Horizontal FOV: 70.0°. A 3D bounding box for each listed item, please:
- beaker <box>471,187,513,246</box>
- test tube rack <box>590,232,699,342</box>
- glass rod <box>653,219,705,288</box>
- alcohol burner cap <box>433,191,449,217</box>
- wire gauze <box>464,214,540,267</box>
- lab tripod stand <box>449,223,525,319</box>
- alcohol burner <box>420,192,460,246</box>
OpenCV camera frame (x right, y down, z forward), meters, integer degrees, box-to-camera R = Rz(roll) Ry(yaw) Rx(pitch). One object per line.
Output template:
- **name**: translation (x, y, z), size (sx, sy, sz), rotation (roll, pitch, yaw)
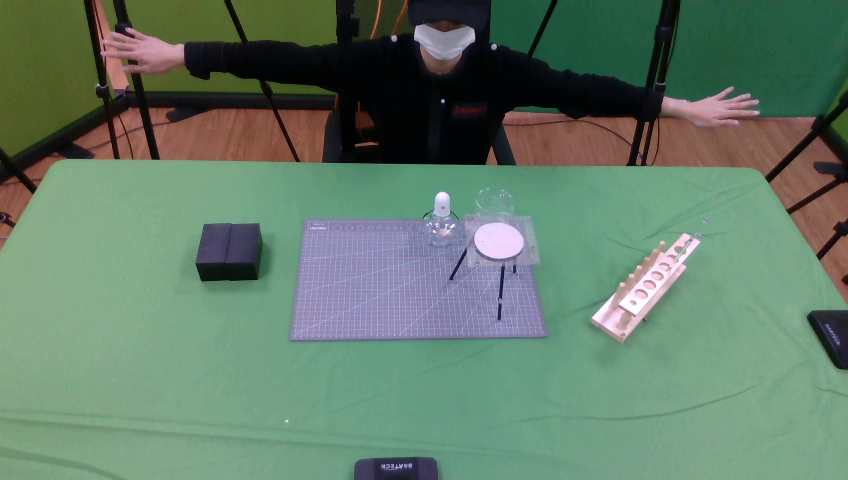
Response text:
- **beaker**: translation (0.134, -0.042, 1.190), size (0.083, 0.101, 0.074), rotation (34, 53, 25)
- **test tube rack**: translation (0.407, 0.074, 1.112), size (0.066, 0.085, 0.242), rotation (35, 53, 26)
- **glass rod**: translation (0.444, 0.032, 1.063), size (0.008, 0.200, 0.008), rotation (5, 49, -6)
- **alcohol burner cap**: translation (0.033, -0.070, 1.150), size (0.034, 0.048, 0.033), rotation (1, 44, 0)
- **wire gauze**: translation (0.131, -0.002, 1.034), size (0.121, 0.011, 0.124), rotation (1, 45, -2)
- **lab tripod stand**: translation (0.120, 0.046, 1.080), size (0.148, 0.132, 0.147), rotation (1, 47, -1)
- **alcohol burner**: translation (0.032, -0.046, 1.176), size (0.078, 0.120, 0.077), rotation (1, 44, -1)
